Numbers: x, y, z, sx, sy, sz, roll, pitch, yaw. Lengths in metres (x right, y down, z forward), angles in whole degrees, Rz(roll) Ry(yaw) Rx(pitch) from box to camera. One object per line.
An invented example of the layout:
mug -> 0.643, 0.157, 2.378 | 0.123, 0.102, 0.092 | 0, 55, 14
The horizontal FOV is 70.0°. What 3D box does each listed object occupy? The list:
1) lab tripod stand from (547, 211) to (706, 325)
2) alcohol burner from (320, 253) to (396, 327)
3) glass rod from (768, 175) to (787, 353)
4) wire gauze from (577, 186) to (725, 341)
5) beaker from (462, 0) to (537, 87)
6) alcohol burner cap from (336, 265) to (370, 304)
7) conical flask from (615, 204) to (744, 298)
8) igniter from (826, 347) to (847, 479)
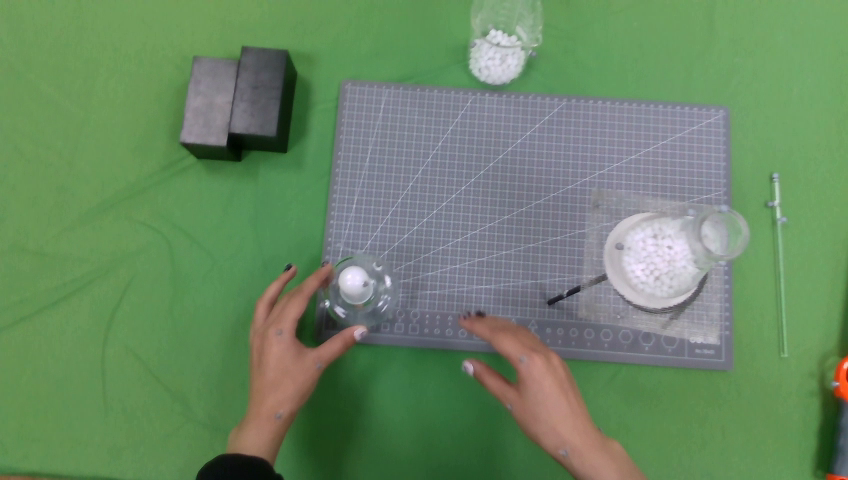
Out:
lab tripod stand -> 0.203, 0.033, 0.599 | 0.148, 0.132, 0.148 | 0, 81, 1
alcohol burner -> -0.068, 0.048, 0.605 | 0.078, 0.119, 0.077 | 0, 80, 1
glass rod -> 0.389, 0.024, 0.668 | 0.008, 0.008, 0.199 | 3, 79, 0
wire gauze -> 0.200, 0.019, 0.535 | 0.125, 0.011, 0.121 | 10, 82, 0
beaker -> 0.081, -0.219, 0.666 | 0.084, 0.100, 0.074 | 40, 82, 6
alcohol burner cap -> -0.068, 0.039, 0.569 | 0.034, 0.048, 0.033 | 1, 73, -3
conical flask -> 0.204, 0.004, 0.477 | 0.075, 0.122, 0.075 | 0, 81, 0
igniter -> 0.463, 0.120, 0.641 | 0.057, 0.025, 0.275 | 17, 79, -7
